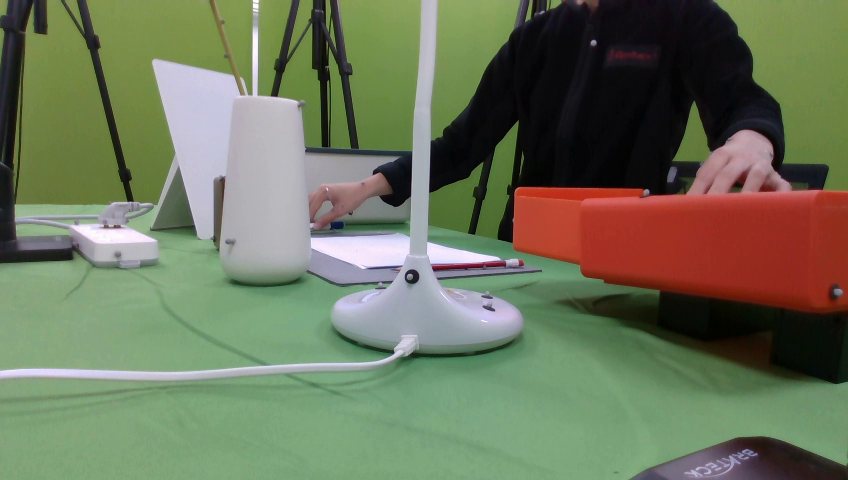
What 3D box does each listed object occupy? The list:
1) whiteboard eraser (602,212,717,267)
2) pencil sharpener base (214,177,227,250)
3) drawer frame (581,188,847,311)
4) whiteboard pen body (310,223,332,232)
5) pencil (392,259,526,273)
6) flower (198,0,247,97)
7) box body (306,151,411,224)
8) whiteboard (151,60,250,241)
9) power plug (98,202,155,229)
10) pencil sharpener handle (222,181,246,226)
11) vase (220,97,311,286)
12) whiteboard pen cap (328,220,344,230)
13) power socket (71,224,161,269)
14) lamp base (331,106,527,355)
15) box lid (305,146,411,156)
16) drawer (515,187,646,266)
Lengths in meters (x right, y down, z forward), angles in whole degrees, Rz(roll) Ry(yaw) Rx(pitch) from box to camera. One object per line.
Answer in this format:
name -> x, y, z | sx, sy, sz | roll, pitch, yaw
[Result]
whiteboard eraser -> 0.248, -0.002, 0.645 | 0.056, 0.042, 0.112 | -7, 18, -26
pencil sharpener base -> -0.265, -0.036, 0.870 | 0.061, 0.107, 0.076 | -2, 8, -29
drawer frame -> 0.280, 0.000, 0.511 | 0.203, 0.082, 0.212 | -1, 3, -28
whiteboard pen body -> -0.206, -0.021, 1.082 | 0.017, 0.017, 0.141 | 8, 9, 38
pencil -> 0.049, 0.035, 0.782 | 0.195, 0.012, 0.012 | -3, 9, -25
flower -> -0.187, -0.133, 0.648 | 0.038, 0.362, 0.044 | -1, 22, 43
box body -> -0.230, -0.126, 1.371 | 0.366, 0.160, 0.253 | -2, 8, -33
whiteboard -> -0.408, -0.139, 1.093 | 0.143, 0.305, 0.218 | -15, 0, 25
power plug -> -0.416, -0.027, 0.848 | 0.073, 0.052, 0.035 | 0, 8, -28
pencil sharpener handle -> -0.289, -0.055, 0.912 | 0.036, 0.067, 0.030 | -3, 9, -29
vase -> -0.172, -0.052, 0.662 | 0.098, 0.200, 0.098 | 3, 8, 0
whiteboard pen cap -> -0.166, -0.027, 1.126 | 0.018, 0.018, 0.033 | 8, 11, 37
power socket -> -0.408, 0.004, 0.793 | 0.072, 0.032, 0.225 | -2, 8, -38
lamp base -> 0.006, -0.012, 0.478 | 0.161, 0.180, 0.179 | 2, 10, 2
box lid -> -0.229, -0.200, 1.360 | 0.373, 0.015, 0.262 | -3, 9, -33
drawer -> 0.229, -0.011, 0.603 | 0.195, 0.073, 0.210 | -1, 8, -28
